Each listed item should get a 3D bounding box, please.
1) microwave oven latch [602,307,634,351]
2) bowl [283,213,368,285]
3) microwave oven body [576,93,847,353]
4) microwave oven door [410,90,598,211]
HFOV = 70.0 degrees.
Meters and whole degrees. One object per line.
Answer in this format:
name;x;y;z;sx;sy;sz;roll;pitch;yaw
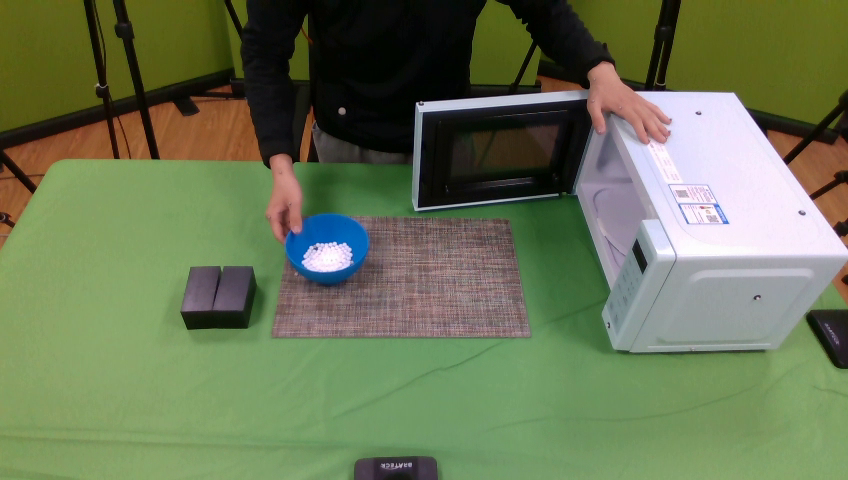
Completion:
microwave oven latch;0.332;0.153;1.044;0.030;0.029;0.078;-1;45;-4
bowl;-0.178;0.030;1.114;0.151;0.077;0.150;3;45;-2
microwave oven body;0.475;-0.041;1.109;0.326;0.261;0.438;-1;45;-4
microwave oven door;0.153;-0.176;1.208;0.356;0.245;0.039;-7;47;-11
